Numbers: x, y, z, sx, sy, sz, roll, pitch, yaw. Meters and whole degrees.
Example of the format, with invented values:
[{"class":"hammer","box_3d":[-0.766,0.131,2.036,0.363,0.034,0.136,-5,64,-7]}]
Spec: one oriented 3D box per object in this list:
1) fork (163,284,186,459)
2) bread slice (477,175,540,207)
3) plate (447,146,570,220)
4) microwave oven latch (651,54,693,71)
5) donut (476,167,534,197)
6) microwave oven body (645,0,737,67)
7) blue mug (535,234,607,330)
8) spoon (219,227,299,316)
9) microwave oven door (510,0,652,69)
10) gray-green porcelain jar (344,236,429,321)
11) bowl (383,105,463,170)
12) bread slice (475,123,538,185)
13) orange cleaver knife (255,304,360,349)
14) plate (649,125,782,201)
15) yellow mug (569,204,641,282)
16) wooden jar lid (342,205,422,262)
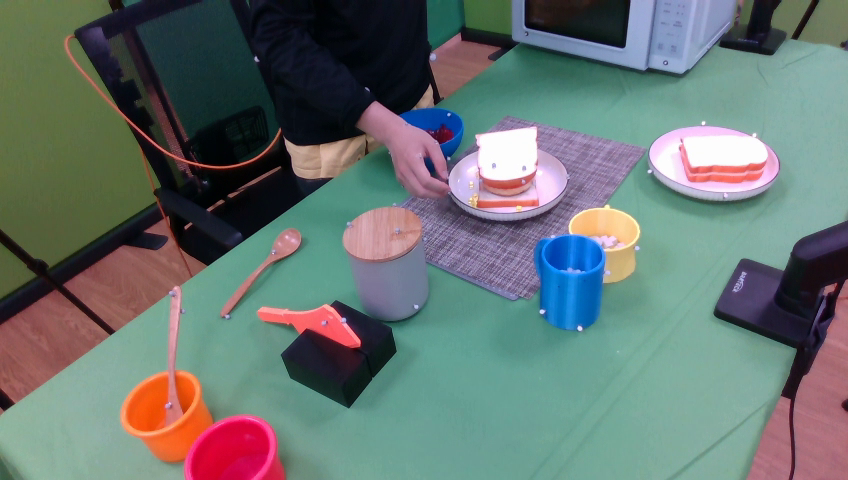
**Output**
[{"class":"fork","box_3d":[-0.303,0.157,0.733,0.028,0.019,0.207,-3,84,13]},{"class":"bread slice","box_3d":[0.145,-0.105,1.057,0.105,0.019,0.131,-2,42,6]},{"class":"plate","box_3d":[0.145,-0.098,1.046,0.209,0.038,0.208,-4,41,4]},{"class":"microwave oven latch","box_3d":[0.531,-0.386,1.301,0.078,0.029,0.030,26,51,33]},{"class":"donut","box_3d":[0.138,-0.116,1.025,0.099,0.048,0.098,-8,55,13]},{"class":"microwave oven body","box_3d":[0.475,-0.602,1.411,0.438,0.261,0.327,23,50,32]},{"class":"blue mug","box_3d":[0.191,0.048,0.824,0.082,0.106,0.115,-26,44,-21]},{"class":"spoon","box_3d":[-0.261,0.046,0.954,0.041,0.021,0.194,26,48,11]},{"class":"microwave oven door","box_3d":[0.345,-0.534,1.344,0.353,0.245,0.039,26,52,33]},{"class":"gray-green porcelain jar","box_3d":[-0.049,0.042,0.849,0.106,0.127,0.105,-4,41,4]},{"class":"bowl","box_3d":[0.002,-0.185,1.142,0.151,0.077,0.150,-4,40,4]},{"class":"bread slice","box_3d":[0.142,-0.144,1.008,0.107,0.018,0.133,-8,47,9]},{"class":"orange cleaver knife","box_3d":[-0.161,0.115,0.813,0.210,0.077,0.012,-4,32,46]},{"class":"plate","box_3d":[0.493,-0.128,1.036,0.207,0.039,0.206,-4,41,4]},{"class":"yellow mug","box_3d":[0.268,-0.005,0.904,0.099,0.064,0.130,7,41,15]},{"class":"wooden jar lid","box_3d":[-0.055,-0.006,0.808,0.108,0.021,0.108,-6,41,6]}]
